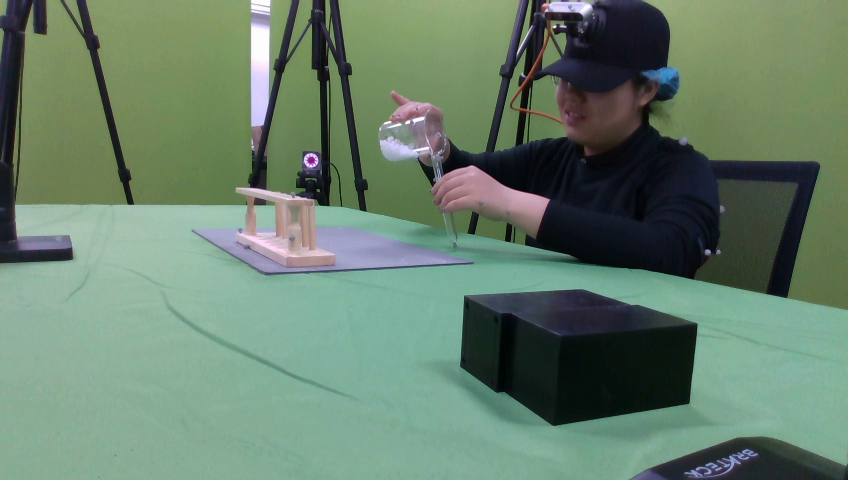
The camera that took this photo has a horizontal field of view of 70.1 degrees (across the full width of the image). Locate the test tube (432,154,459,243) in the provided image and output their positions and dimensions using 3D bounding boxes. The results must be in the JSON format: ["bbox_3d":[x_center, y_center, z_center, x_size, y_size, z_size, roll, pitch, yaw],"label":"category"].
[{"bbox_3d":[0.035,-0.068,0.992,0.017,0.150,0.017,-12,-5,-1],"label":"test tube"}]

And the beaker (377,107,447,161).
[{"bbox_3d":[-0.021,-0.173,1.025,0.100,0.084,0.074,-7,-8,31],"label":"beaker"}]

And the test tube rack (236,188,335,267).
[{"bbox_3d":[-0.202,-0.024,0.855,0.067,0.085,0.241,-2,8,-31],"label":"test tube rack"}]
